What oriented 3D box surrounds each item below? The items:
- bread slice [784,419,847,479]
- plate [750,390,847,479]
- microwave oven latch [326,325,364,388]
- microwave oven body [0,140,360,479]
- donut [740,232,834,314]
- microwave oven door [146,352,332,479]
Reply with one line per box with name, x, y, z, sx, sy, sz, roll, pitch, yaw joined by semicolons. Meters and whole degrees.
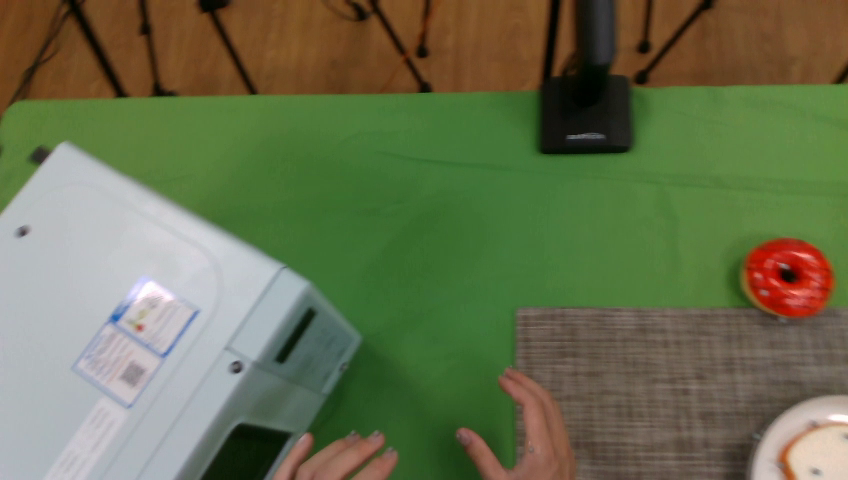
bread slice;0.438;0.254;0.621;0.105;0.019;0.130;-20;70;-2
plate;0.440;0.260;0.618;0.207;0.039;0.206;-2;70;6
microwave oven latch;-0.100;0.132;0.709;0.030;0.030;0.079;29;77;15
microwave oven body;-0.326;0.182;0.612;0.324;0.262;0.440;27;76;14
donut;0.419;0.038;0.699;0.099;0.048;0.098;-4;67;9
microwave oven door;-0.222;0.278;0.561;0.039;0.245;0.355;26;75;16
